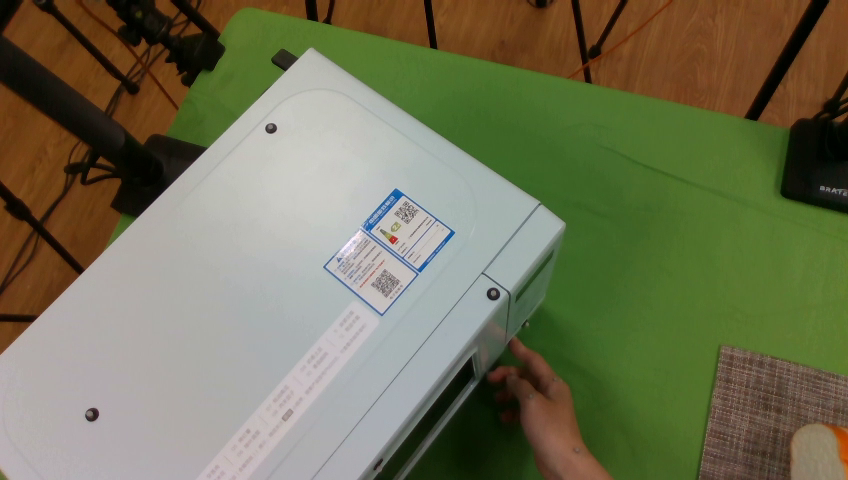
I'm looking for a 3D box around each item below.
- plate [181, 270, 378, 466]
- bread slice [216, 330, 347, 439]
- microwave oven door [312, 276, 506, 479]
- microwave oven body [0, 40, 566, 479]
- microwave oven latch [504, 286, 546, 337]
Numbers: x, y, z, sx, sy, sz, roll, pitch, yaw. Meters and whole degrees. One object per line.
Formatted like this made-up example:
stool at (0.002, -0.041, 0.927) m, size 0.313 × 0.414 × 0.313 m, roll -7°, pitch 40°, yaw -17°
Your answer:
plate at (-0.152, 0.136, 0.654) m, size 0.208 × 0.039 × 0.206 m, roll 0°, pitch 67°, yaw 1°
bread slice at (-0.153, 0.162, 0.652) m, size 0.134 × 0.018 × 0.106 m, roll -10°, pitch 67°, yaw -9°
microwave oven door at (-0.045, 0.202, 0.553) m, size 0.039 × 0.245 × 0.355 m, roll 37°, pitch 77°, yaw 18°
microwave oven body at (-0.130, 0.089, 0.608) m, size 0.324 × 0.262 × 0.441 m, roll 37°, pitch 78°, yaw 17°
microwave oven latch at (0.106, 0.075, 0.692) m, size 0.030 × 0.030 × 0.079 m, roll 41°, pitch 79°, yaw 17°
